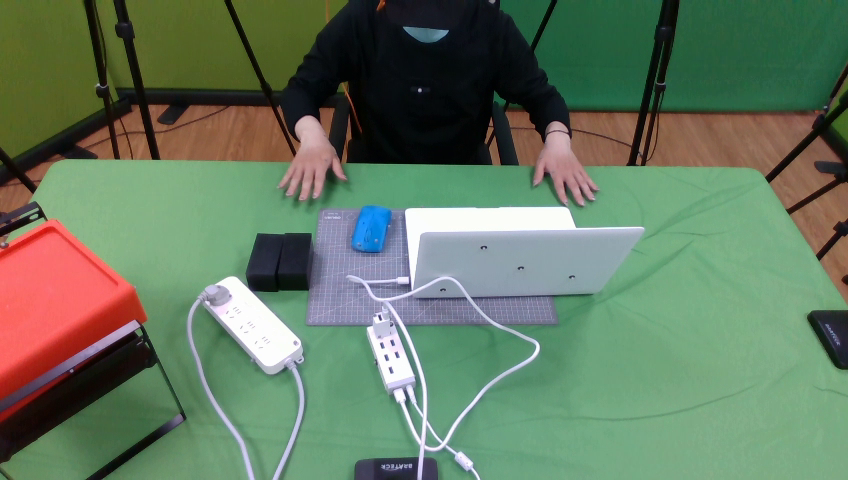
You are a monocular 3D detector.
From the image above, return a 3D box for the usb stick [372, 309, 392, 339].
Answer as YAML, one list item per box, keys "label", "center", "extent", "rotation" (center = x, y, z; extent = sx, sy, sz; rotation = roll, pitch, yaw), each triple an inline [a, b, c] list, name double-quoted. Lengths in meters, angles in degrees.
- label: "usb stick"
  center: [-0.070, 0.145, 1.008]
  extent: [0.027, 0.059, 0.021]
  rotation: [-14, 39, -25]

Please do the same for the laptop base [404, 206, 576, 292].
- label: "laptop base"
  center: [0.143, 0.018, 1.196]
  extent: [0.355, 0.023, 0.234]
  rotation: [-1, 43, -6]

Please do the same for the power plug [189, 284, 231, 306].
- label: "power plug"
  center: [-0.367, 0.100, 1.037]
  extent: [0.072, 0.053, 0.035]
  rotation: [-24, 54, -26]

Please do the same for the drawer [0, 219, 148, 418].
- label: "drawer"
  center: [-0.509, 0.093, 0.783]
  extent: [0.193, 0.073, 0.211]
  rotation: [32, 53, 24]

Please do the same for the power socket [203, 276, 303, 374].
- label: "power socket"
  center: [-0.296, 0.141, 1.034]
  extent: [0.072, 0.033, 0.225]
  rotation: [-34, 58, -30]

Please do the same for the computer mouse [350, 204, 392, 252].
- label: "computer mouse"
  center: [-0.104, -0.027, 1.202]
  extent: [0.063, 0.041, 0.116]
  rotation: [11, 51, 4]

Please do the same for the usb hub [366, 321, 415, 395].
- label: "usb hub"
  center: [-0.056, 0.194, 1.007]
  extent: [0.049, 0.025, 0.124]
  rotation: [-13, 49, -15]

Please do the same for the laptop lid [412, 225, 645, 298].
- label: "laptop lid"
  center: [0.161, 0.042, 1.012]
  extent: [0.357, 0.242, 0.013]
  rotation: [0, 59, -7]

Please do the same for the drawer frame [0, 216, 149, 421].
- label: "drawer frame"
  center: [-0.510, 0.093, 0.780]
  extent: [0.201, 0.083, 0.213]
  rotation: [31, 52, 23]
